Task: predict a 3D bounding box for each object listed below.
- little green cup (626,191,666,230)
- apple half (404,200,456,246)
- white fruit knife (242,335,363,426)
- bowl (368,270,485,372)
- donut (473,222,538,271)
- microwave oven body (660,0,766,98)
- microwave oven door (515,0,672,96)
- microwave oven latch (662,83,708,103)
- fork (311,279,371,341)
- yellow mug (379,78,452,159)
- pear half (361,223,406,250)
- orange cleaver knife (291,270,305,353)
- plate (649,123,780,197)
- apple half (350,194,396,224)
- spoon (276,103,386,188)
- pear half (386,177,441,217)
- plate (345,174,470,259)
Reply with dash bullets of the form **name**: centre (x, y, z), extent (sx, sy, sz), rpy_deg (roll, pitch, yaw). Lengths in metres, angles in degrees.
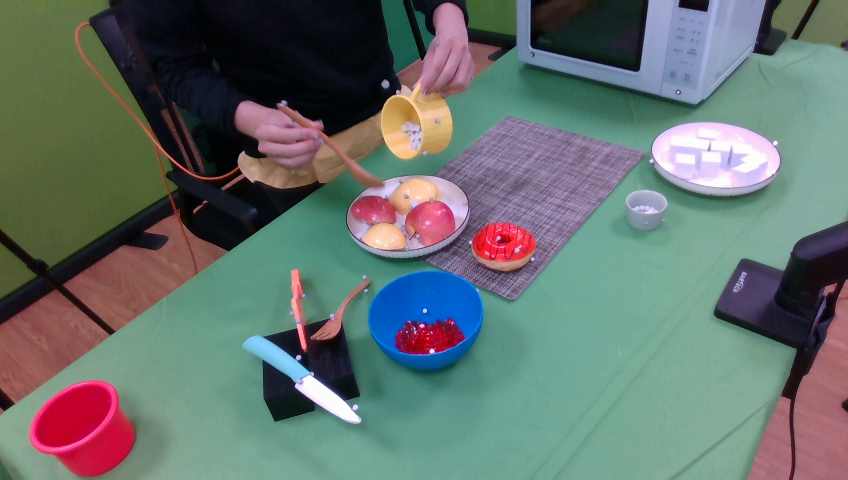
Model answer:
- **little green cup**: centre (0.352, -0.046, 0.963), extent (0.061, 0.039, 0.061), rpy_deg (-4, 40, 4)
- **apple half**: centre (0.010, -0.035, 0.969), extent (0.075, 0.053, 0.080), rpy_deg (-27, 41, -22)
- **white fruit knife**: centre (-0.148, 0.167, 0.730), extent (0.206, 0.016, 0.027), rpy_deg (26, 80, 31)
- **bowl**: centre (0.007, 0.118, 0.791), extent (0.151, 0.077, 0.150), rpy_deg (-5, 40, 4)
- **donut**: centre (0.123, 0.009, 0.923), extent (0.099, 0.048, 0.098), rpy_deg (-3, 37, 3)
- **microwave oven body**: centre (0.472, -0.513, 1.317), extent (0.438, 0.261, 0.327), rpy_deg (26, 51, 34)
- **microwave oven door**: centre (0.344, -0.455, 1.259), extent (0.353, 0.245, 0.039), rpy_deg (26, 51, 33)
- **microwave oven latch**: centre (0.517, -0.296, 1.204), extent (0.078, 0.029, 0.030), rpy_deg (28, 52, 35)
- **fork**: centre (-0.108, 0.092, 0.832), extent (0.028, 0.019, 0.207), rpy_deg (-6, 19, 15)
- **yellow mug**: centre (-0.010, -0.193, 0.942), extent (0.064, 0.131, 0.099), rpy_deg (-21, 53, -41)
- **pear half**: centre (-0.063, -0.012, 0.959), extent (0.071, 0.031, 0.087), rpy_deg (3, 25, -25)
- **orange cleaver knife**: centre (-0.175, 0.094, 0.844), extent (0.012, 0.077, 0.210), rpy_deg (-11, 14, -10)
- **plate**: centre (0.497, -0.134, 1.046), extent (0.207, 0.039, 0.206), rpy_deg (-4, 40, 4)
- **apple half**: centre (-0.080, -0.056, 1.008), extent (0.081, 0.033, 0.081), rpy_deg (10, 24, -4)
- **spoon**: centre (-0.128, -0.129, 0.849), extent (0.041, 0.195, 0.021), rpy_deg (-5, 51, 51)
- **pear half**: centre (-0.030, -0.079, 1.033), extent (0.109, 0.056, 0.076), rpy_deg (-1, 36, 15)
- **plate**: centre (-0.026, -0.037, 1.004), extent (0.209, 0.038, 0.208), rpy_deg (-4, 40, 4)
